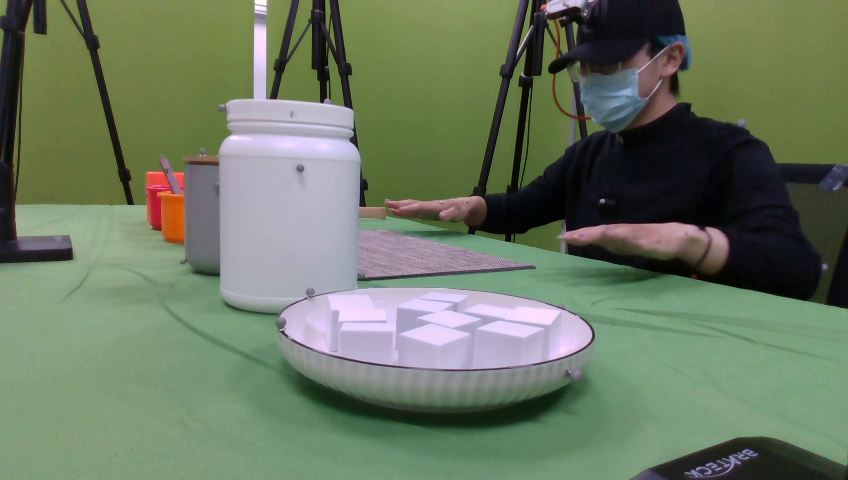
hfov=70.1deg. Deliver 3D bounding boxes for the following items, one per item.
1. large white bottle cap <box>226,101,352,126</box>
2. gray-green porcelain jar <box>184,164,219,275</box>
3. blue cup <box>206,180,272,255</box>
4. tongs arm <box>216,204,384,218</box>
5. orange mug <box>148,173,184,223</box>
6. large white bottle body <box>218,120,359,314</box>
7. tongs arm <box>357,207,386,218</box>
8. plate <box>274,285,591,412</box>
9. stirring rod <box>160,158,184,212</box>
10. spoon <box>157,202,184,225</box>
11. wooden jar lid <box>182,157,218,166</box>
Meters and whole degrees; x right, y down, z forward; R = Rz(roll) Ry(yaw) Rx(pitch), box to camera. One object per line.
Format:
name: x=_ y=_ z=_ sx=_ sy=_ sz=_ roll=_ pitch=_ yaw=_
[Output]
large white bottle cap: x=-0.125 y=-0.116 z=0.566 sx=0.115 sy=0.018 sz=0.115 roll=2 pitch=8 yaw=0
gray-green porcelain jar: x=-0.230 y=-0.025 z=0.722 sx=0.106 sy=0.126 sz=0.106 roll=3 pitch=7 yaw=0
blue cup: x=-0.261 y=-0.033 z=0.865 sx=0.093 sy=0.100 sz=0.092 roll=3 pitch=9 yaw=0
tongs arm: x=-0.288 y=-0.069 z=1.435 sx=0.389 sy=0.027 sz=0.028 roll=0 pitch=-1 yaw=-17
orange mug: x=-0.490 y=-0.087 z=1.222 sx=0.127 sy=0.101 sz=0.083 roll=-9 pitch=13 yaw=-38
large white bottle body: x=-0.128 y=-0.033 z=0.578 sx=0.131 sy=0.184 sz=0.130 roll=2 pitch=7 yaw=0
tongs arm: x=-0.251 y=-0.063 z=1.360 sx=0.387 sy=0.026 sz=0.050 roll=-1 pitch=3 yaw=-31
plate: x=0.005 y=0.069 z=0.408 sx=0.208 sy=0.039 sz=0.207 roll=2 pitch=7 yaw=0
stirring rod: x=-0.390 y=-0.070 z=0.972 sx=0.014 sy=0.006 sz=0.175 roll=-2 pitch=50 yaw=-48
spoon: x=-0.425 y=-0.094 z=1.117 sx=0.041 sy=0.022 sz=0.194 roll=5 pitch=51 yaw=28
wooden jar lid: x=-0.227 y=-0.086 z=0.714 sx=0.108 sy=0.020 sz=0.108 roll=1 pitch=6 yaw=0
